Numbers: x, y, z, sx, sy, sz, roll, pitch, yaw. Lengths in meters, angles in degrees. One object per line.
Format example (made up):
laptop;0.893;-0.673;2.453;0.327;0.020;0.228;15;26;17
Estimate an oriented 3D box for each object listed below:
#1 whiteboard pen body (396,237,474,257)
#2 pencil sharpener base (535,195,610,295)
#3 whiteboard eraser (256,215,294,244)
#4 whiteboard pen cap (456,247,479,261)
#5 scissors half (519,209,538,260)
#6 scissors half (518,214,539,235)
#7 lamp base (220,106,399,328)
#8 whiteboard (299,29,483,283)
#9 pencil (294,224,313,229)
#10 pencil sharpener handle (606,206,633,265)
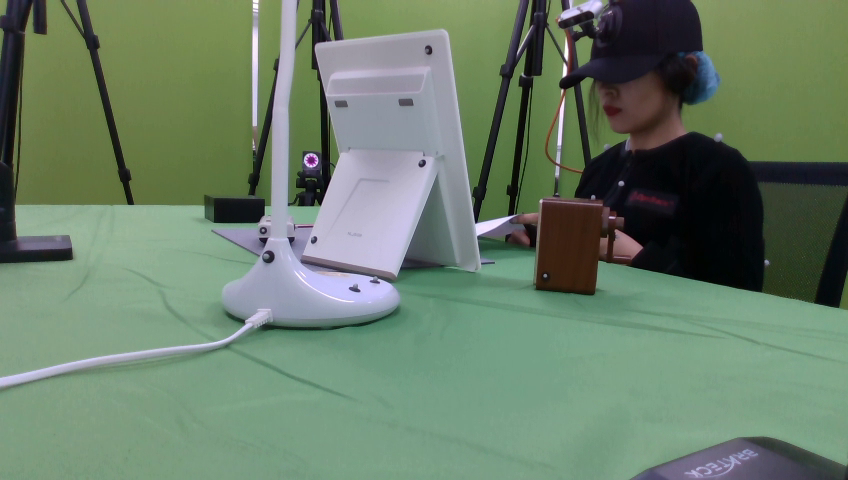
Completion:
whiteboard pen body;0.014;0.012;0.886;0.140;0.017;0.017;9;10;38
pencil sharpener base;0.172;0.005;0.695;0.076;0.107;0.061;5;7;16
whiteboard eraser;-0.232;-0.016;0.951;0.056;0.042;0.112;2;7;-12
whiteboard pen cap;0.060;0.020;0.851;0.033;0.018;0.018;10;10;37
scissors half;0.195;-0.008;1.094;0.012;0.040;0.176;10;-26;31
scissors half;0.201;-0.028;1.099;0.013;0.040;0.176;4;-5;29
lamp base;-0.101;-0.023;0.531;0.160;0.180;0.179;4;10;10
whiteboard;-0.074;-0.082;0.742;0.216;0.305;0.144;9;30;38
pencil;-0.221;-0.028;1.211;0.195;0.012;0.012;-5;10;-34
pencil sharpener handle;0.222;-0.004;0.683;0.030;0.068;0.036;5;21;16
